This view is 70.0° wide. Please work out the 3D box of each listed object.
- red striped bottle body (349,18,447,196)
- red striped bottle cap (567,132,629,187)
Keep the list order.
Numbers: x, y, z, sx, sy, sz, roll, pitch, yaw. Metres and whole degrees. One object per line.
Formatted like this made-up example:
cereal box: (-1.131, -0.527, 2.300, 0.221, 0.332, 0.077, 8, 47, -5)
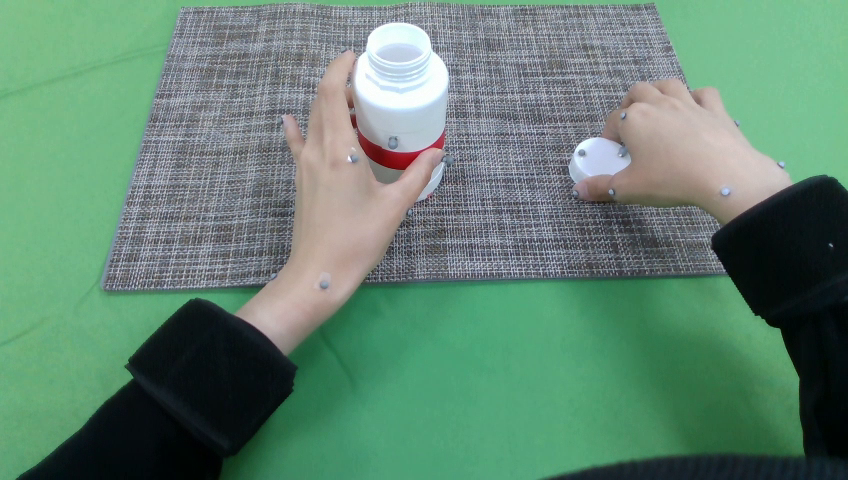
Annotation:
red striped bottle body: (-0.016, -0.089, 0.412, 0.063, 0.120, 0.062, 0, 58, 0)
red striped bottle cap: (0.133, -0.062, 0.462, 0.044, 0.018, 0.044, 1, 55, -2)
